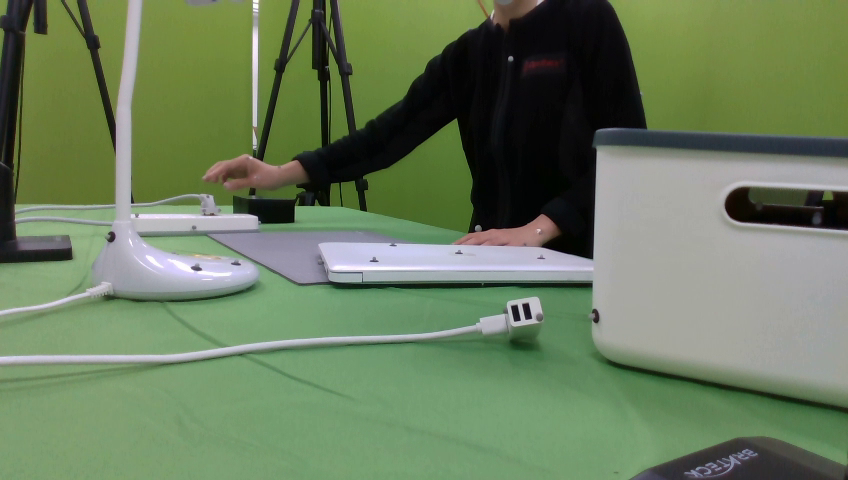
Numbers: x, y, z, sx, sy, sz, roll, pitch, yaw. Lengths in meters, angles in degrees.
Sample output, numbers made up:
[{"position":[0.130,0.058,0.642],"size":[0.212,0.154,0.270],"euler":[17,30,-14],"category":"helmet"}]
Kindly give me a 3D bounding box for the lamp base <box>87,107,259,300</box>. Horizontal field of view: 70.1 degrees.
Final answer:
[{"position":[-0.254,-0.039,0.603],"size":[0.160,0.180,0.179],"euler":[4,10,18],"category":"lamp base"}]

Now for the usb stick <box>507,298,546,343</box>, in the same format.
[{"position":[0.079,0.065,0.470],"size":[0.027,0.021,0.059],"euler":[-12,-24,4],"category":"usb stick"}]

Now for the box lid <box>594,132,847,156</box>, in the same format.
[{"position":[0.311,-0.066,0.499],"size":[0.262,0.015,0.373],"euler":[7,8,29],"category":"box lid"}]

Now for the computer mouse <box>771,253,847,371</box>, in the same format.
[{"position":[0.344,0.057,0.518],"size":[0.063,0.041,0.117],"euler":[12,48,3],"category":"computer mouse"}]

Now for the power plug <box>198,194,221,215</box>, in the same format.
[{"position":[-0.386,-0.056,1.088],"size":[0.035,0.052,0.072],"euler":[-1,7,-23],"category":"power plug"}]

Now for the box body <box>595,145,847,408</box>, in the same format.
[{"position":[0.309,0.007,0.510],"size":[0.253,0.160,0.366],"euler":[6,8,29],"category":"box body"}]

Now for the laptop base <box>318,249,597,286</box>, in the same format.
[{"position":[0.046,0.034,0.789],"size":[0.355,0.023,0.235],"euler":[1,5,-14],"category":"laptop base"}]

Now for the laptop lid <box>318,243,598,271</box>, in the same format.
[{"position":[0.046,0.022,0.789],"size":[0.358,0.013,0.241],"euler":[1,6,-12],"category":"laptop lid"}]

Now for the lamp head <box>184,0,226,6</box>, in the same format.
[{"position":[-0.229,-0.320,0.627],"size":[0.112,0.112,0.123],"euler":[6,-35,26],"category":"lamp head"}]

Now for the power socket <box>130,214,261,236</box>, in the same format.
[{"position":[-0.397,-0.028,1.048],"size":[0.228,0.032,0.072],"euler":[-3,7,-35],"category":"power socket"}]
